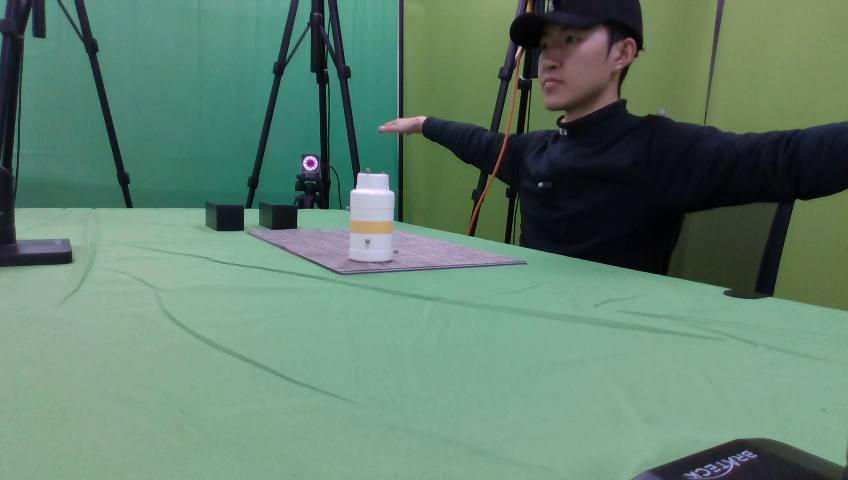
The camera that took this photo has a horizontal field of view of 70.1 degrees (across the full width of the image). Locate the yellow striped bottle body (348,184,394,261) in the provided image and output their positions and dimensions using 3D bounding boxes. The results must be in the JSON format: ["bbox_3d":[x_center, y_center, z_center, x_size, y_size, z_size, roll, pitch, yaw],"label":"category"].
[{"bbox_3d":[-0.073,-0.034,0.845,0.063,0.120,0.063,2,7,0],"label":"yellow striped bottle body"}]

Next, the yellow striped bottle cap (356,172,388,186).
[{"bbox_3d":[-0.072,-0.085,0.839,0.044,0.018,0.044,2,9,0],"label":"yellow striped bottle cap"}]
